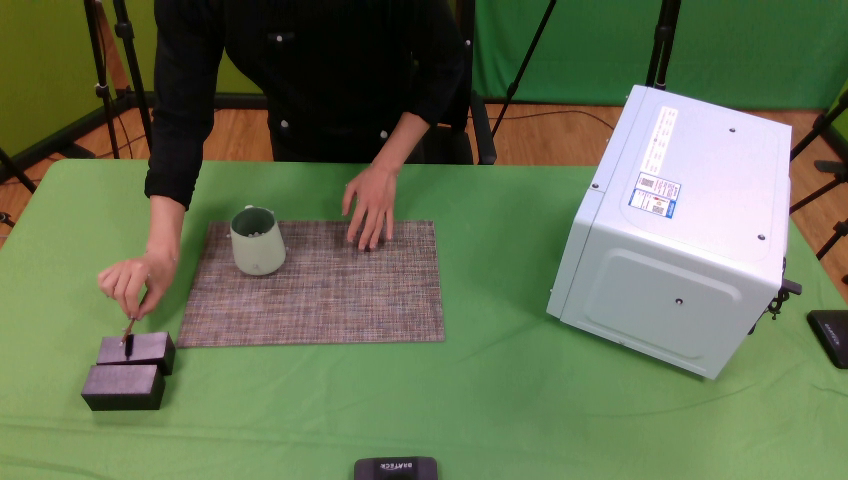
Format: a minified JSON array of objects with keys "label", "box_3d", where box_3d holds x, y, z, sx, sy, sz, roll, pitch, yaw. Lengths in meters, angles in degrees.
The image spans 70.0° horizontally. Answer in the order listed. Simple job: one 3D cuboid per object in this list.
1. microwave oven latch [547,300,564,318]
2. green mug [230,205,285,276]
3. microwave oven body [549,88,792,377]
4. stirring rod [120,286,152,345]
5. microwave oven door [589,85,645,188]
[{"label":"microwave oven latch","box_3d":[0.242,0.102,1.081,0.030,0.029,0.079,21,48,17]},{"label":"green mug","box_3d":[-0.311,-0.008,1.118,0.092,0.105,0.124,-14,48,-16]},{"label":"microwave oven body","box_3d":[0.456,-0.028,1.088,0.325,0.261,0.440,20,47,16]},{"label":"stirring rod","box_3d":[-0.477,0.122,1.007,0.006,0.014,0.175,20,19,-18]},{"label":"microwave oven door","box_3d":[0.342,-0.107,1.149,0.039,0.245,0.354,20,48,15]}]
